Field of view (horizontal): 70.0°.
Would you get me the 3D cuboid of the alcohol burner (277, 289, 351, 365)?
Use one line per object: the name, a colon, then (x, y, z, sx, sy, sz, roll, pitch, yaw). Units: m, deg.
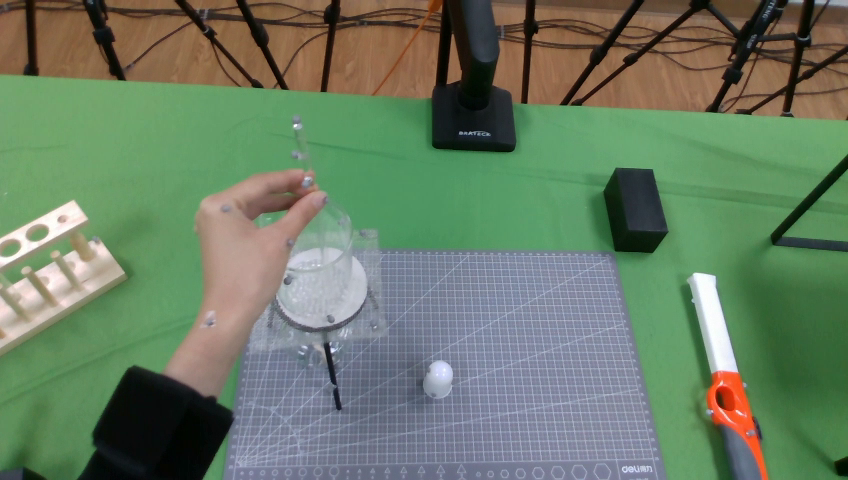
alcohol burner: (-0.115, 0.084, 0.633, 0.078, 0.120, 0.077, 4, 56, -5)

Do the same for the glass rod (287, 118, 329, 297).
glass rod: (-0.091, -0.015, 0.486, 0.008, 0.201, 0.008, 0, 49, 0)

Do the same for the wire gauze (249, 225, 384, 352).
wire gauze: (-0.103, 0.040, 0.572, 0.121, 0.011, 0.124, -4, 62, -6)

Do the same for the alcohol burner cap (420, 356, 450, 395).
alcohol burner cap: (0.013, 0.144, 0.650, 0.034, 0.048, 0.033, 2, 58, -3)

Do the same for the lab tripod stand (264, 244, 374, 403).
lab tripod stand: (-0.105, 0.079, 0.625, 0.148, 0.132, 0.147, 3, 58, -5)

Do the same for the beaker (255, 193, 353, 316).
beaker: (-0.104, 0.016, 0.529, 0.084, 0.101, 0.073, 22, 58, 9)

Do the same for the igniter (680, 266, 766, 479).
igniter: (0.335, 0.153, 0.685, 0.057, 0.025, 0.274, 9, 57, -12)

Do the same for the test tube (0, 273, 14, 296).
test tube: (-0.451, 0.014, 0.607, 0.017, 0.151, 0.017, 3, 52, -4)

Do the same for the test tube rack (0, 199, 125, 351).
test tube rack: (-0.456, 0.063, 0.634, 0.242, 0.086, 0.066, -36, 67, -25)
